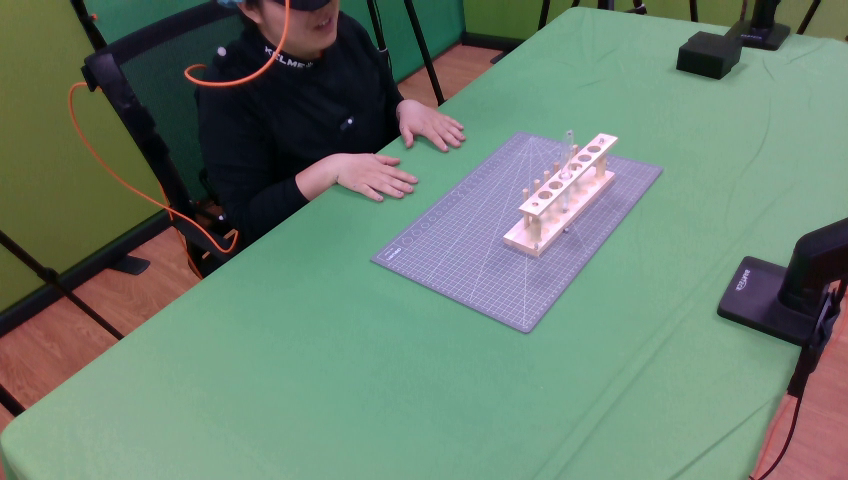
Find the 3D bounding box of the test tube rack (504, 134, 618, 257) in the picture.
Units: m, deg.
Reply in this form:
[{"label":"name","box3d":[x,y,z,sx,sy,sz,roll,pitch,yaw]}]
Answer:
[{"label":"test tube rack","box3d":[0.225,-0.083,0.985,0.066,0.085,0.243,25,51,34]}]

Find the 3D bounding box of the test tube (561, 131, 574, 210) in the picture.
[{"label":"test tube","box3d":[0.220,-0.103,0.933,0.017,0.151,0.017,-5,45,6]}]
